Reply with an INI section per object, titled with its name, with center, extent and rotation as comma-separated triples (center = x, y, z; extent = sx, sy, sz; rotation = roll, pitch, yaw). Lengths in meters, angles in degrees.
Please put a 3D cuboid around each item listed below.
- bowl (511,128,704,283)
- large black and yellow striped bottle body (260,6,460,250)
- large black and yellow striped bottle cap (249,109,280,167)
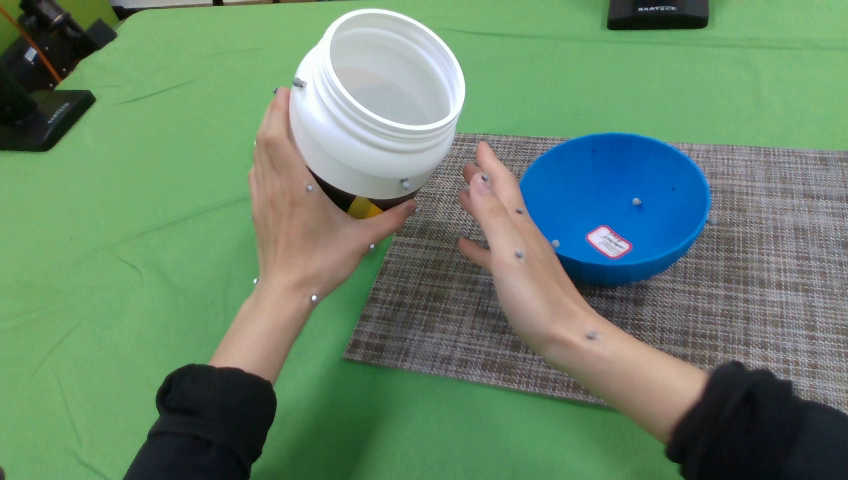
[bowl]
center = 0.152, -0.017, 0.517
extent = 0.151, 0.077, 0.150
rotation = -6, 50, 8
[large black and yellow striped bottle body]
center = -0.057, -0.085, 0.503
extent = 0.131, 0.184, 0.129
rotation = 11, 60, -20
[large black and yellow striped bottle cap]
center = -0.153, -0.126, 0.729
extent = 0.115, 0.019, 0.114
rotation = -6, 49, 7
